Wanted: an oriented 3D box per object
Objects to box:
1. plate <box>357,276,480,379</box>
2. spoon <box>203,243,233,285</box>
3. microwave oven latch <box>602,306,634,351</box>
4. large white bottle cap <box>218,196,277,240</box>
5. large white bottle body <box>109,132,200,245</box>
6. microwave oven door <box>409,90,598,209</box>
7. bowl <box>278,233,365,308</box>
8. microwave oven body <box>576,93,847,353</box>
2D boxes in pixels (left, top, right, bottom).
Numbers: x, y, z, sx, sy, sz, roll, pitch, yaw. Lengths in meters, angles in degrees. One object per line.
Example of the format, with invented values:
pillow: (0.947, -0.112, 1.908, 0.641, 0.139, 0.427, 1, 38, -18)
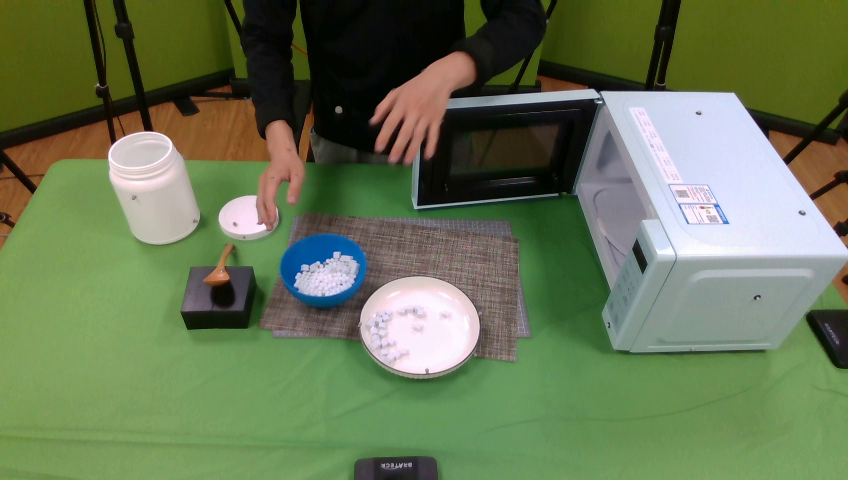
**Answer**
plate: (-0.010, 0.151, 1.038, 0.209, 0.038, 0.208, 2, 47, -2)
spoon: (-0.360, 0.039, 1.087, 0.041, 0.022, 0.192, -5, 24, -7)
microwave oven latch: (0.332, 0.153, 1.044, 0.030, 0.029, 0.078, 0, 45, -4)
large white bottle cap: (-0.355, -0.045, 1.220, 0.115, 0.018, 0.114, 2, 45, -2)
large white bottle body: (-0.506, -0.097, 1.141, 0.131, 0.185, 0.130, 2, 46, -2)
microwave oven door: (0.152, -0.178, 1.210, 0.356, 0.245, 0.039, -6, 47, -10)
bowl: (-0.179, 0.068, 1.076, 0.151, 0.077, 0.150, 3, 46, -2)
microwave oven body: (0.475, -0.041, 1.109, 0.326, 0.261, 0.438, -1, 45, -4)
